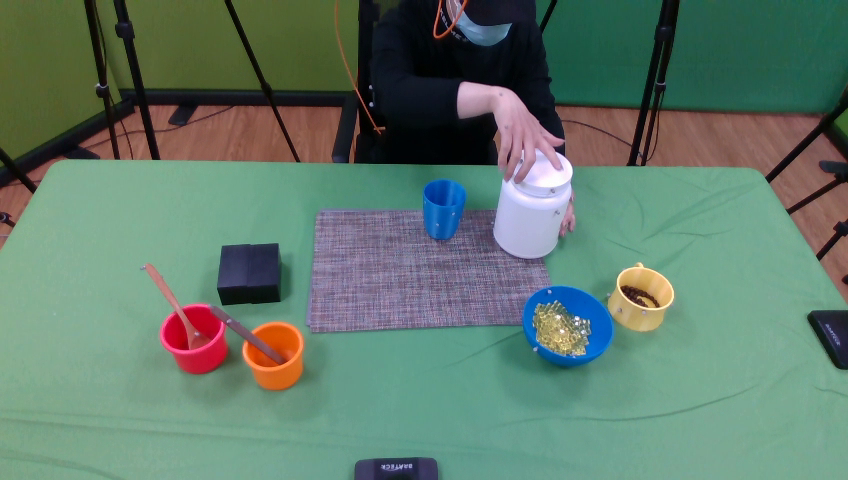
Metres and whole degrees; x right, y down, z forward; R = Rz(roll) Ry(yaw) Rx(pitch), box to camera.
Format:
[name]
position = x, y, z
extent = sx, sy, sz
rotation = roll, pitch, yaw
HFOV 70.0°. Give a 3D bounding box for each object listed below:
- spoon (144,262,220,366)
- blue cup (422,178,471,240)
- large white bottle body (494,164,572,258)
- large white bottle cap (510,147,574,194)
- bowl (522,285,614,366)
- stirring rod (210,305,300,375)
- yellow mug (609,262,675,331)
[spoon]
position = -0.389, 0.118, 0.971
extent = 0.041, 0.021, 0.194
rotation = -34, 101, -33
[blue cup]
position = 0.035, -0.056, 1.192
extent = 0.093, 0.101, 0.092
rotation = 3, 45, -3
[large white bottle body]
position = 0.208, -0.069, 1.160
extent = 0.131, 0.185, 0.130
rotation = 2, 46, -2
[large white bottle cap]
position = 0.213, -0.128, 1.098
extent = 0.115, 0.018, 0.114
rotation = 2, 46, -2
[bowl]
position = 0.235, 0.158, 1.022
extent = 0.151, 0.077, 0.150
rotation = 2, 46, -2
[stirring rod]
position = -0.262, 0.158, 0.946
extent = 0.177, 0.006, 0.014
rotation = 43, 43, -21
[yellow mug]
position = 0.393, 0.094, 1.103
extent = 0.100, 0.064, 0.130
rotation = 7, 45, 4
